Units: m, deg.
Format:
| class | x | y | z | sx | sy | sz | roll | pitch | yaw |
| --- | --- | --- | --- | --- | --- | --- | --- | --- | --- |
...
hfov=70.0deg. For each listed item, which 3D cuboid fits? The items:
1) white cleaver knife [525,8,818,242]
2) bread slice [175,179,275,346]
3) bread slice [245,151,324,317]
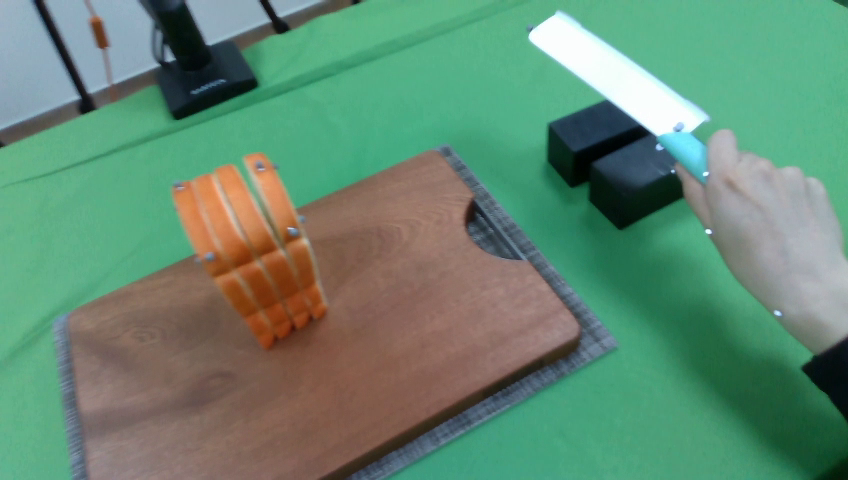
| class | x | y | z | sx | sy | sz | roll | pitch | yaw |
| --- | --- | --- | --- | --- | --- | --- | --- | --- | --- |
| white cleaver knife | 0.199 | -0.106 | 0.494 | 0.066 | 0.022 | 0.284 | -36 | 72 | -25 |
| bread slice | -0.165 | 0.012 | 0.502 | 0.018 | 0.136 | 0.106 | -27 | 50 | -11 |
| bread slice | -0.118 | -0.009 | 0.513 | 0.019 | 0.133 | 0.103 | -24 | 52 | -17 |
